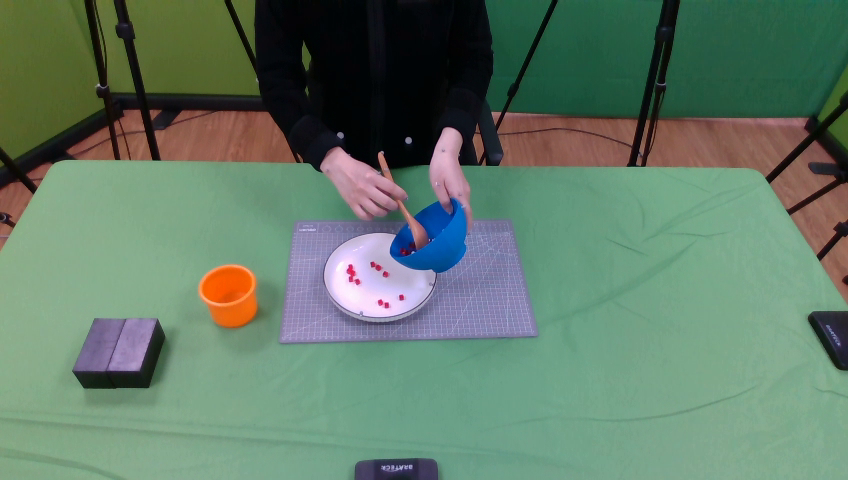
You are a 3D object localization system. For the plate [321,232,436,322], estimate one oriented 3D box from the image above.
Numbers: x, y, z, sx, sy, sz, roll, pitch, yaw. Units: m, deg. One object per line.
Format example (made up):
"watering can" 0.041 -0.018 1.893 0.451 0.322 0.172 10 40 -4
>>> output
"plate" -0.083 0.070 1.109 0.209 0.038 0.208 3 46 -2

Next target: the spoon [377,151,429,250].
"spoon" -0.038 -0.061 1.025 0.021 0.194 0.041 -16 19 39

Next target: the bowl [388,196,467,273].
"bowl" 0.021 0.004 1.043 0.151 0.077 0.150 -34 23 17
